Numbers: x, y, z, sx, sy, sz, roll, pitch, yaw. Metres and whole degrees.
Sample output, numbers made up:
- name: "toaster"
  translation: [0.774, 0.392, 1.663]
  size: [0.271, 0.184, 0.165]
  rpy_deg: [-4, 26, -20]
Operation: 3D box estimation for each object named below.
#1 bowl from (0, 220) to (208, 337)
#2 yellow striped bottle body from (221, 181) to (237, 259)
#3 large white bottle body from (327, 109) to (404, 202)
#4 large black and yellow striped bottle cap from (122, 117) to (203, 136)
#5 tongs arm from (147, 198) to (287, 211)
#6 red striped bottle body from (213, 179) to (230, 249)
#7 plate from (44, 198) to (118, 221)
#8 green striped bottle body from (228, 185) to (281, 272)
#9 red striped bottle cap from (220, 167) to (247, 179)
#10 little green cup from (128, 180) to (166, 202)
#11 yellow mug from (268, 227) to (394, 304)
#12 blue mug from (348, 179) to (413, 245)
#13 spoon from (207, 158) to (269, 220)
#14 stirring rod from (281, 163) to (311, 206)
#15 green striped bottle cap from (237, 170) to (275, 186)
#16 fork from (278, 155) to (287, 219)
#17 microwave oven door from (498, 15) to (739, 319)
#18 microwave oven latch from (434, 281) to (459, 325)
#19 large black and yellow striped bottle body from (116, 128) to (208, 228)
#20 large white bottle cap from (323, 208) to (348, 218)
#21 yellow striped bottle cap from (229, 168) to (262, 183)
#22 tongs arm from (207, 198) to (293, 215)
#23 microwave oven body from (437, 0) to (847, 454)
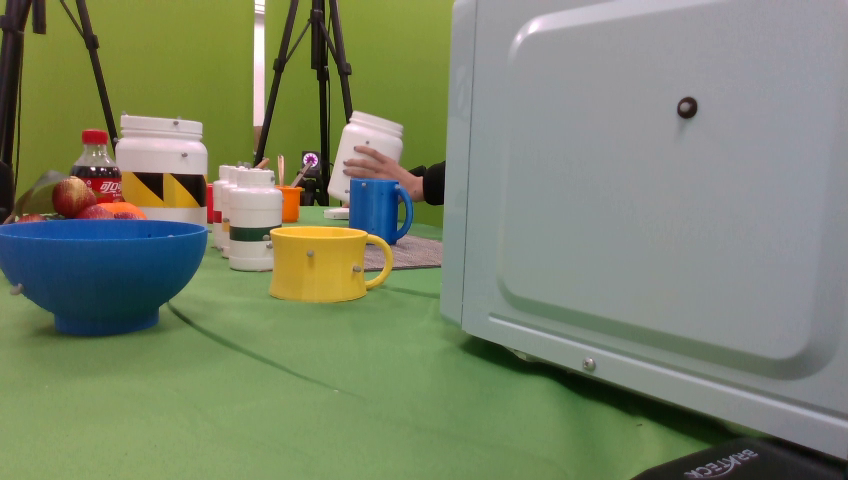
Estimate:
- name: "bowl"
  translation: [-0.251, 0.029, 0.479]
  size: [0.151, 0.077, 0.151]
  rpy_deg: [2, 7, 0]
- name: "yellow striped bottle body"
  translation: [-0.244, -0.036, 0.823]
  size: [0.063, 0.120, 0.063]
  rpy_deg: [2, 8, 0]
- name: "large white bottle body"
  translation: [-0.118, -0.169, 1.264]
  size: [0.131, 0.184, 0.130]
  rpy_deg: [17, 8, -2]
- name: "large black and yellow striped bottle cap"
  translation: [-0.399, -0.174, 0.927]
  size: [0.115, 0.019, 0.115]
  rpy_deg: [5, 9, -1]
- name: "tongs arm"
  translation: [-0.504, -0.091, 1.513]
  size: [0.028, 0.028, 0.389]
  rpy_deg: [-1, 4, 38]
- name: "red striped bottle body"
  translation: [-0.284, -0.048, 0.909]
  size: [0.063, 0.119, 0.063]
  rpy_deg: [3, 10, 0]
- name: "plate"
  translation: [-0.617, -0.056, 1.179]
  size: [0.209, 0.038, 0.209]
  rpy_deg: [3, 7, 0]
- name: "green striped bottle body"
  translation: [-0.208, -0.024, 0.745]
  size: [0.063, 0.119, 0.063]
  rpy_deg: [2, 7, 0]
- name: "red striped bottle cap"
  translation: [-0.281, -0.099, 0.901]
  size: [0.044, 0.017, 0.044]
  rpy_deg: [-1, 5, 0]
- name: "little green cup"
  translation: [-0.485, -0.087, 1.062]
  size: [0.061, 0.038, 0.061]
  rpy_deg: [0, 6, 0]
- name: "yellow mug"
  translation: [-0.094, 0.023, 0.629]
  size: [0.131, 0.064, 0.099]
  rpy_deg: [0, 7, -22]
- name: "blue mug"
  translation: [-0.071, -0.047, 1.002]
  size: [0.116, 0.106, 0.082]
  rpy_deg: [7, 9, 26]
- name: "spoon"
  translation: [-0.380, -0.108, 1.251]
  size: [0.041, 0.022, 0.194]
  rpy_deg: [4, 51, 39]
- name: "stirring rod"
  translation: [-0.292, -0.111, 1.324]
  size: [0.014, 0.006, 0.176]
  rpy_deg: [2, 47, 30]
- name: "green striped bottle cap"
  translation: [-0.205, -0.075, 0.737]
  size: [0.044, 0.020, 0.044]
  rpy_deg: [1, 6, 0]
- name: "fork"
  translation: [-0.318, -0.120, 1.342]
  size: [0.028, 0.018, 0.206]
  rpy_deg: [0, 52, -13]
- name: "microwave oven door"
  translation: [0.216, -0.065, 0.602]
  size: [0.358, 0.243, 0.039]
  rpy_deg: [-4, 11, -41]
- name: "microwave oven latch"
  translation: [0.044, 0.045, 0.470]
  size: [0.079, 0.029, 0.030]
  rpy_deg: [-2, 8, -39]
- name: "large black and yellow striped bottle body"
  translation: [-0.404, -0.089, 0.937]
  size: [0.131, 0.184, 0.130]
  rpy_deg: [3, 7, 0]
- name: "large white bottle cap"
  translation: [-0.184, -0.065, 1.448]
  size: [0.115, 0.018, 0.115]
  rpy_deg: [0, 6, 0]
- name: "yellow striped bottle cap"
  translation: [-0.240, -0.087, 0.816]
  size: [0.044, 0.018, 0.044]
  rpy_deg: [-3, 5, 1]
- name: "tongs arm"
  translation: [-0.423, -0.084, 1.472]
  size: [0.050, 0.026, 0.386]
  rpy_deg: [2, 6, 21]
- name: "microwave oven body"
  translation: [0.279, -0.040, 0.464]
  size: [0.444, 0.260, 0.324]
  rpy_deg: [-3, 9, -41]
